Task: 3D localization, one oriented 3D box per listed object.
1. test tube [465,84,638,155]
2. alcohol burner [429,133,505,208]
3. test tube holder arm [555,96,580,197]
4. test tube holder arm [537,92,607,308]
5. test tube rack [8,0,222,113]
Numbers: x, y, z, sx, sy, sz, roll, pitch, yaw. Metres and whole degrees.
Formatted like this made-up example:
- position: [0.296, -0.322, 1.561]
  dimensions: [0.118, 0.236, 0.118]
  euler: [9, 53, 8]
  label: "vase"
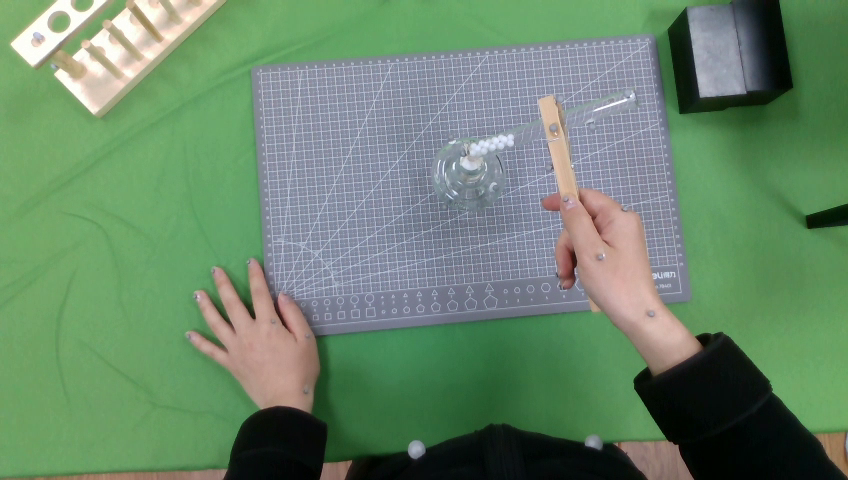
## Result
- position: [0.101, -0.097, 0.503]
  dimensions: [0.150, 0.017, 0.017]
  euler: [-14, 82, 29]
  label: "test tube"
- position: [0.044, -0.073, 0.602]
  dimensions: [0.078, 0.119, 0.077]
  euler: [0, 82, 1]
  label: "alcohol burner"
- position: [0.113, -0.076, 0.501]
  dimensions: [0.015, 0.010, 0.087]
  euler: [-15, 76, 29]
  label: "test tube holder arm"
- position: [0.119, -0.033, 0.490]
  dimensions: [0.015, 0.013, 0.178]
  euler: [-15, 85, 30]
  label: "test tube holder arm"
- position: [-0.292, -0.251, 0.630]
  dimensions: [0.066, 0.085, 0.242]
  euler: [44, 85, 4]
  label: "test tube rack"
